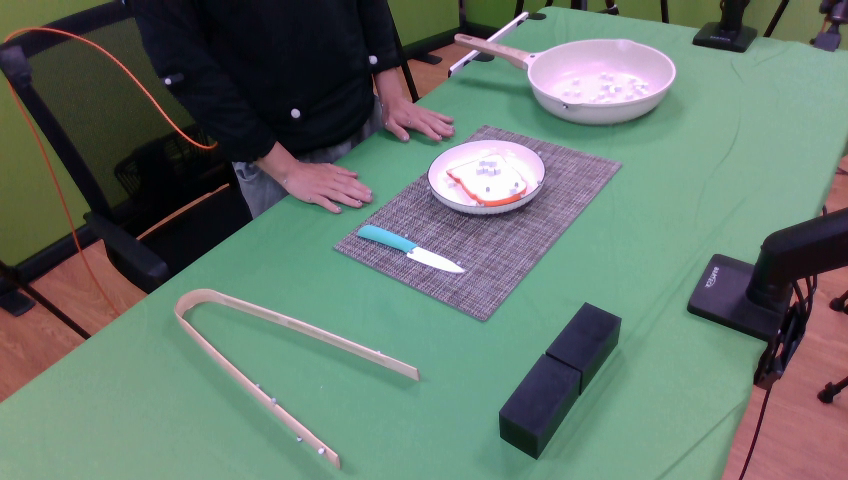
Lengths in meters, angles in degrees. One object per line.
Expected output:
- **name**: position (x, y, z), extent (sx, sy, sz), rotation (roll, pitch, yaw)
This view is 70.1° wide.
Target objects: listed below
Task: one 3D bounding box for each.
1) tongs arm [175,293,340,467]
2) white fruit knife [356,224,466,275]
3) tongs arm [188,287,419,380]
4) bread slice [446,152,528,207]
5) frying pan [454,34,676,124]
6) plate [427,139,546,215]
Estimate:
- **tongs arm**: position (-0.225, 0.168, 0.793), extent (0.381, 0.026, 0.051), rotation (25, 50, 33)
- **white fruit knife**: position (-0.021, 0.014, 0.955), extent (0.206, 0.016, 0.027), rotation (22, 78, 27)
- **tongs arm**: position (-0.178, 0.126, 0.841), extent (0.385, 0.028, 0.028), rotation (15, 48, 24)
- **bread slice**: position (0.117, -0.104, 1.057), extent (0.107, 0.018, 0.133), rotation (-24, 42, -18)
- **frying pan**: position (0.277, -0.370, 1.295), extent (0.485, 0.103, 0.307), rotation (26, 49, 22)
- **plate**: position (0.109, -0.106, 1.058), extent (0.207, 0.039, 0.206), rotation (-4, 40, 4)
